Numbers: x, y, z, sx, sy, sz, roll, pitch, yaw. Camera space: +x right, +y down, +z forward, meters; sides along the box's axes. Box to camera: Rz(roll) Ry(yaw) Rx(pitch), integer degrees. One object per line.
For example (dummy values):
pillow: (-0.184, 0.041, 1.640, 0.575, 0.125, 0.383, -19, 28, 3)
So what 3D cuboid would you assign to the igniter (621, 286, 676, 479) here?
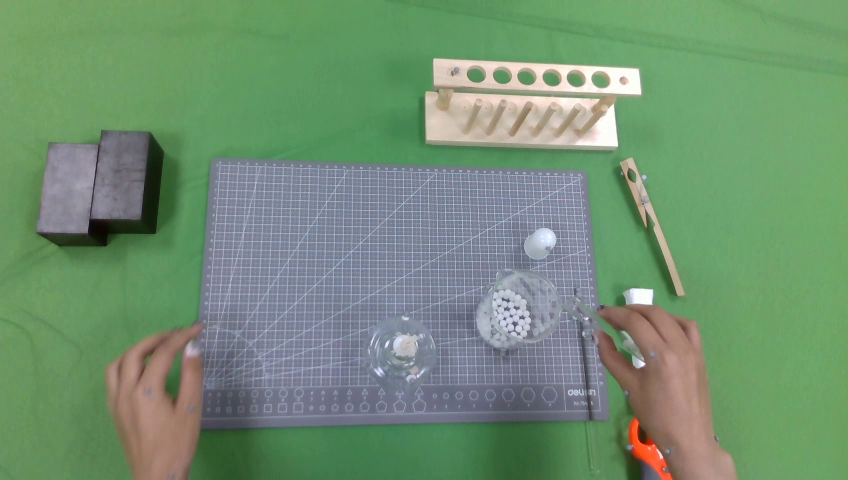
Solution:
igniter: (0.250, 0.188, 0.680, 0.057, 0.025, 0.275, 4, 74, -17)

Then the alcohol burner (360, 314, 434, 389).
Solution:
alcohol burner: (-0.026, 0.110, 0.615, 0.078, 0.119, 0.077, 2, 72, -6)

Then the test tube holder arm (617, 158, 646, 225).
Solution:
test tube holder arm: (0.261, -0.061, 0.753, 0.010, 0.015, 0.087, -24, 78, 22)

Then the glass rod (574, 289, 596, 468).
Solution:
glass rod: (0.181, 0.153, 0.686, 0.008, 0.008, 0.198, 0, 75, -8)

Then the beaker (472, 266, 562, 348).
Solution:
beaker: (0.092, 0.074, 0.648, 0.074, 0.100, 0.083, -32, 80, -15)

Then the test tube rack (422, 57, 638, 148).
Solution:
test tube rack: (0.123, -0.161, 0.726, 0.243, 0.085, 0.066, 1, 75, -7)

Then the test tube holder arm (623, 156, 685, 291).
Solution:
test tube holder arm: (0.281, -0.021, 0.742, 0.013, 0.015, 0.177, -25, 78, 22)

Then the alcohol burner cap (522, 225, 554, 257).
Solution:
alcohol burner cap: (0.135, -0.001, 0.704, 0.034, 0.048, 0.033, 2, 75, -7)

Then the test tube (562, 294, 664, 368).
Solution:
test tube: (0.186, 0.091, 0.586, 0.151, 0.017, 0.017, 32, 70, -28)
